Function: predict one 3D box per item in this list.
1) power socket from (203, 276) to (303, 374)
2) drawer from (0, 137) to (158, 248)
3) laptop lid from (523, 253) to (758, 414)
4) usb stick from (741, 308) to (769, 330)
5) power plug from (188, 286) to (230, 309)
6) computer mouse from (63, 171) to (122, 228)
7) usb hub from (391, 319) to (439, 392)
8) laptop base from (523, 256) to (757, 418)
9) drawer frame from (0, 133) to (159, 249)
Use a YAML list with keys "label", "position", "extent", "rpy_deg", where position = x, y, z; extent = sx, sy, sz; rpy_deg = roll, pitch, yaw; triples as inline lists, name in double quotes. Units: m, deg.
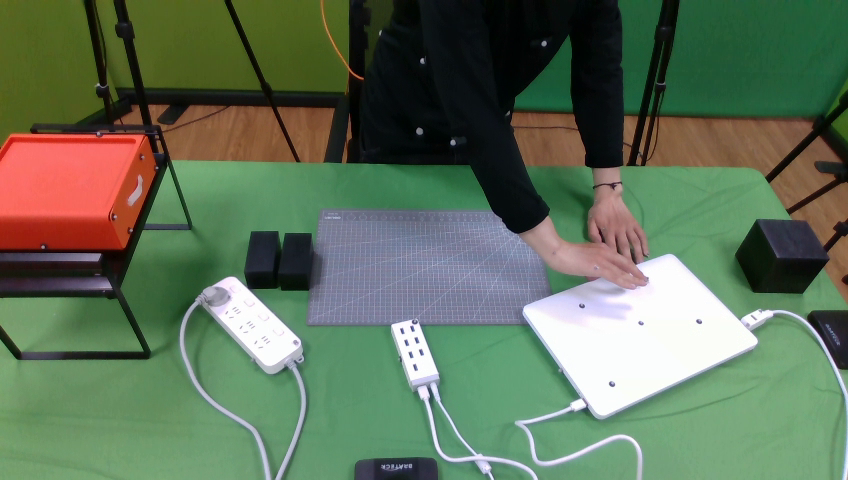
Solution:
- label: "power socket"
  position: [-0.296, 0.141, 1.034]
  extent: [0.225, 0.033, 0.072]
  rpy_deg: [37, 55, 27]
- label: "drawer"
  position: [-0.549, -0.079, 0.944]
  extent: [0.212, 0.073, 0.193]
  rpy_deg: [0, 47, -4]
- label: "laptop lid"
  position: [0.380, 0.148, 1.068]
  extent: [0.357, 0.013, 0.240]
  rpy_deg: [-16, 50, -19]
- label: "usb stick"
  position: [0.587, 0.146, 1.087]
  extent: [0.059, 0.027, 0.021]
  rpy_deg: [-23, 49, -16]
- label: "power plug"
  position: [-0.370, 0.103, 1.039]
  extent: [0.072, 0.053, 0.035]
  rpy_deg: [-26, 53, -23]
- label: "computer mouse"
  position: [-0.522, -0.067, 0.955]
  extent: [0.063, 0.041, 0.116]
  rpy_deg: [1, 49, -9]
- label: "usb hub"
  position: [-0.016, 0.190, 1.013]
  extent: [0.049, 0.025, 0.124]
  rpy_deg: [-11, 48, -15]
- label: "laptop base"
  position: [0.380, 0.159, 1.078]
  extent: [0.355, 0.023, 0.234]
  rpy_deg: [-17, 48, -20]
- label: "drawer frame"
  position: [-0.553, -0.078, 0.942]
  extent: [0.214, 0.083, 0.200]
  rpy_deg: [-1, 47, -4]
